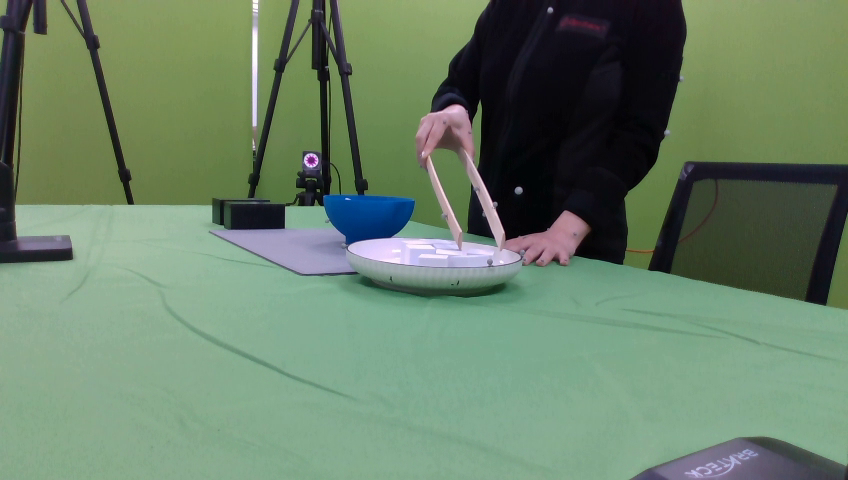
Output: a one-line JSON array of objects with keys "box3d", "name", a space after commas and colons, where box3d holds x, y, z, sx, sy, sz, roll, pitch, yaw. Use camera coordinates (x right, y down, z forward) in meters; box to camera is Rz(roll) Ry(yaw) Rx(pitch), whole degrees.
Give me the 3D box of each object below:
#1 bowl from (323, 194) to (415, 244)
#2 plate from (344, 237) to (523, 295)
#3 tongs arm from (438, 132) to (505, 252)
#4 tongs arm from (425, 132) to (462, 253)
[{"box3d": [-0.090, -0.032, 0.986, 0.151, 0.077, 0.151, 2, 7, 0], "name": "bowl"}, {"box3d": [0.010, 0.030, 0.707, 0.208, 0.039, 0.207, 3, 8, 0], "name": "plate"}, {"box3d": [0.058, -0.084, 0.867, 0.051, 0.026, 0.384, -1, 28, -3], "name": "tongs arm"}, {"box3d": [0.027, -0.083, 0.863, 0.028, 0.028, 0.386, -5, 28, -3], "name": "tongs arm"}]
